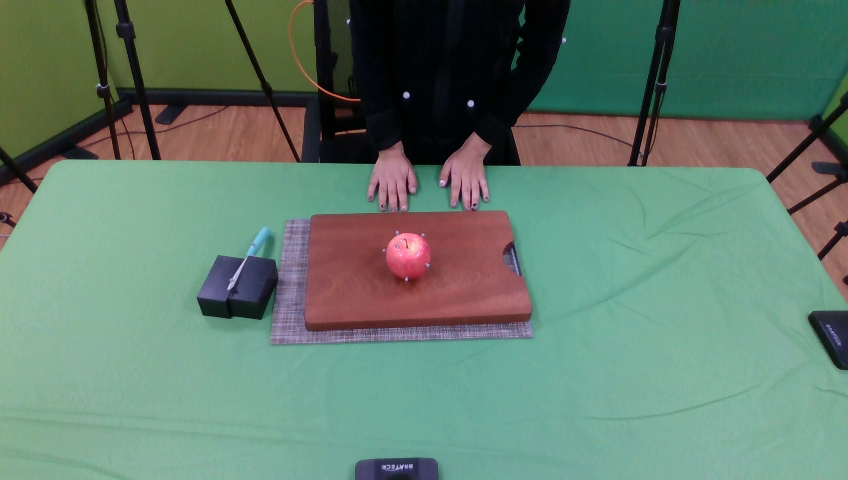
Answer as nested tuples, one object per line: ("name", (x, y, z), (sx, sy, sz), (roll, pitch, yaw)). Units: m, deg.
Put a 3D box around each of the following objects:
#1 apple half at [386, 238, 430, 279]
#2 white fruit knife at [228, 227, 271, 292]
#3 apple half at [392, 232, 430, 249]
("apple half", (-0.032, 0.039, 1.084), (0.081, 0.075, 0.053), (11, 50, 1))
("white fruit knife", (-0.318, 0.031, 1.107), (0.016, 0.027, 0.206), (5, 32, 4))
("apple half", (-0.025, 0.010, 1.110), (0.081, 0.081, 0.032), (8, 51, 4))
